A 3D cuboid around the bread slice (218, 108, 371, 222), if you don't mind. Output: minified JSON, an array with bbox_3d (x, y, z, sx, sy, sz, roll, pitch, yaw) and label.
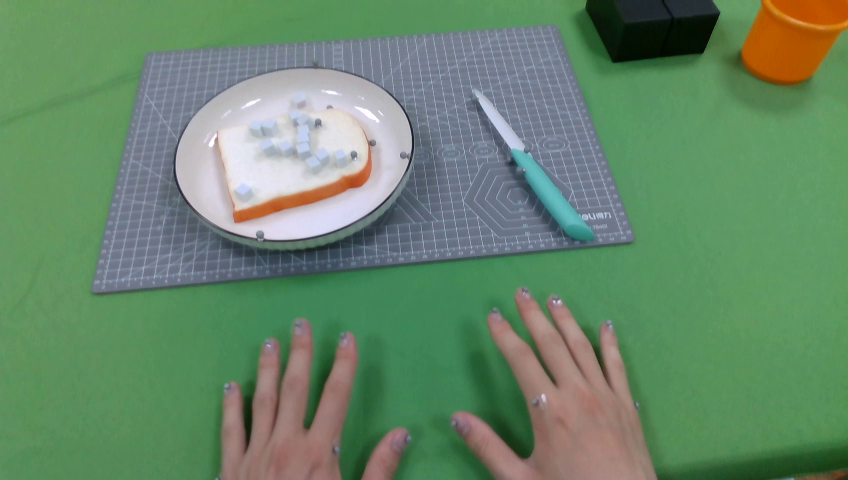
[{"bbox_3d":[-0.116,-0.077,0.547,0.132,0.019,0.104,-18,57,-12],"label":"bread slice"}]

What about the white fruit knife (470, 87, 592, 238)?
[{"bbox_3d":[0.090,-0.079,0.561,0.027,0.016,0.205,0,47,-37],"label":"white fruit knife"}]

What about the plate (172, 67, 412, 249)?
[{"bbox_3d":[-0.114,-0.074,0.543,0.209,0.038,0.207,0,56,0],"label":"plate"}]
